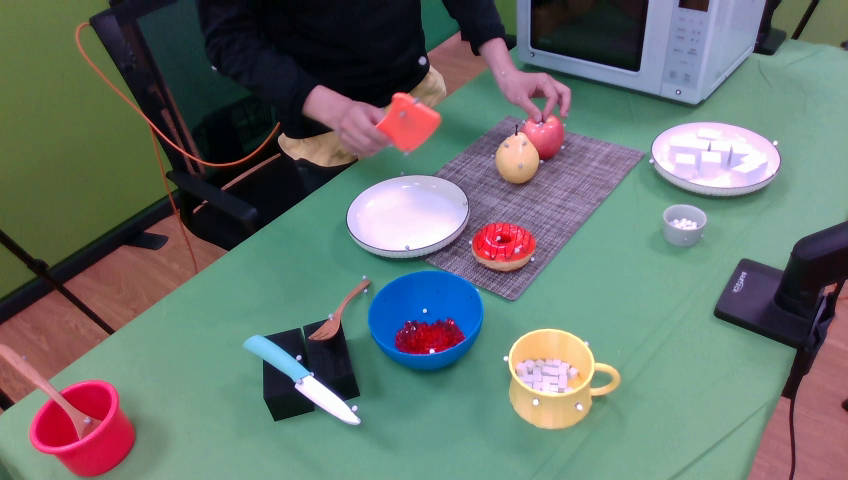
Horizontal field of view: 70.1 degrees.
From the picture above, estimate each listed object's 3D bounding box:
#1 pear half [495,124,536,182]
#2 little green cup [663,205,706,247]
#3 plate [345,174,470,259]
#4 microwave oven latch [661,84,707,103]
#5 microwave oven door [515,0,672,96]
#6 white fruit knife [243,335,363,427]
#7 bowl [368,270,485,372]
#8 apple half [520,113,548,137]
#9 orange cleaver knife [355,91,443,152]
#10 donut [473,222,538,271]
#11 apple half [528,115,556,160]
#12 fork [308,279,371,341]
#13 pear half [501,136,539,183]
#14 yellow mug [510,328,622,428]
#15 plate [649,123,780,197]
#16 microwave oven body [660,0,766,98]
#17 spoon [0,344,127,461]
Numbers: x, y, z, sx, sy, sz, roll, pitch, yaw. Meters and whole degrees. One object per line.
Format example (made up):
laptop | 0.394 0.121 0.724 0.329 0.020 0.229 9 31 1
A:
pear half | 0.160 -0.162 1.067 0.076 0.110 0.055 -16 41 -15
little green cup | 0.396 -0.021 0.926 0.061 0.039 0.061 -4 40 4
plate | -0.026 -0.037 1.004 0.209 0.038 0.208 -4 40 4
microwave oven latch | 0.517 -0.296 1.204 0.078 0.029 0.030 27 52 35
microwave oven door | 0.343 -0.455 1.259 0.353 0.245 0.039 26 51 33
white fruit knife | -0.147 0.167 0.729 0.206 0.016 0.027 27 80 31
bowl | 0.007 0.118 0.791 0.151 0.077 0.150 -5 40 4
apple half | 0.200 -0.202 1.137 0.032 0.081 0.081 30 53 32
orange cleaver knife | -0.041 -0.156 0.874 0.012 0.077 0.210 -59 17 -23
donut | 0.123 0.009 0.923 0.099 0.048 0.098 -3 38 3
apple half | 0.218 -0.188 1.120 0.053 0.075 0.080 1 35 7
fork | -0.109 0.093 0.832 0.028 0.018 0.207 -4 19 15
pear half | 0.172 -0.134 1.048 0.071 0.088 0.031 -16 40 -16
yellow mug | 0.169 0.164 0.722 0.130 0.064 0.099 0 40 8
plate | 0.497 -0.135 1.046 0.207 0.039 0.206 -4 40 4
microwave oven body | 0.472 -0.513 1.317 0.438 0.261 0.327 26 51 34
spoon | -0.433 0.191 0.721 0.194 0.021 0.042 47 53 -6
